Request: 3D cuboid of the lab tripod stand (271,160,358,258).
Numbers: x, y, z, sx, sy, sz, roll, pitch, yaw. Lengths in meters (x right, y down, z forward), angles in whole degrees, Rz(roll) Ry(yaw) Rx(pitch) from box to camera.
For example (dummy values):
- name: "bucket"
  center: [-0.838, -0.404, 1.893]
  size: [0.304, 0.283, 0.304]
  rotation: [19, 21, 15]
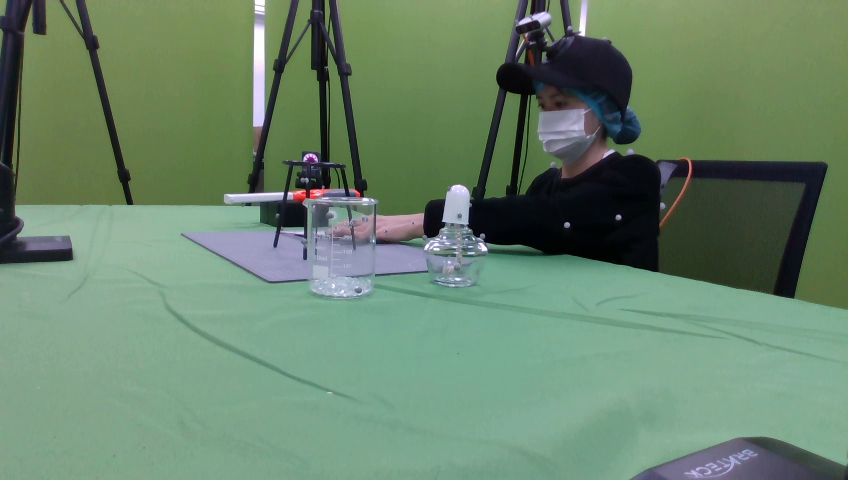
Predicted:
- name: "lab tripod stand"
  center: [-0.159, -0.048, 0.876]
  size: [0.148, 0.131, 0.148]
  rotation: [3, 5, 0]

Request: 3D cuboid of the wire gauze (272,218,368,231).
- name: "wire gauze"
  center: [-0.186, -0.028, 1.088]
  size: [0.124, 0.011, 0.122]
  rotation: [0, 7, 36]

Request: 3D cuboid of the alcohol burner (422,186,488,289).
- name: "alcohol burner"
  center: [0.036, -0.004, 0.706]
  size: [0.078, 0.119, 0.078]
  rotation: [0, 7, 0]

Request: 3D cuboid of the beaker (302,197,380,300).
- name: "beaker"
  center: [-0.089, 0.007, 0.625]
  size: [0.084, 0.100, 0.074]
  rotation: [4, 7, 16]

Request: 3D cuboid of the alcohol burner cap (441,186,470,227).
- name: "alcohol burner cap"
  center: [0.038, -0.039, 0.700]
  size: [0.034, 0.048, 0.034]
  rotation: [6, 4, 0]

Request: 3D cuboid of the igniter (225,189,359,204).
- name: "igniter"
  center: [-0.264, -0.089, 1.239]
  size: [0.278, 0.025, 0.057]
  rotation: [-5, 12, -32]
